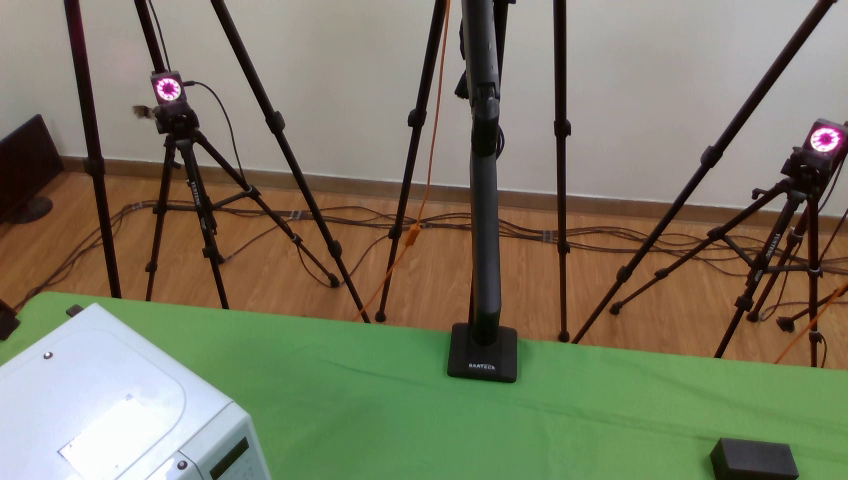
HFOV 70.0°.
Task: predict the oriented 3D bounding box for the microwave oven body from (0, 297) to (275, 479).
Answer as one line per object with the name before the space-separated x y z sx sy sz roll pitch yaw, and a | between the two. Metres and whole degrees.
microwave oven body | -0.456 0.337 0.717 0.323 0.262 0.440 26 49 24

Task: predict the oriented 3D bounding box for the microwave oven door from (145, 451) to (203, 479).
microwave oven door | -0.360 0.413 0.630 0.039 0.246 0.355 25 48 25

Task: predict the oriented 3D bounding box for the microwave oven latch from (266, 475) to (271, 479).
microwave oven latch | -0.234 0.368 0.832 0.030 0.030 0.079 27 49 25
